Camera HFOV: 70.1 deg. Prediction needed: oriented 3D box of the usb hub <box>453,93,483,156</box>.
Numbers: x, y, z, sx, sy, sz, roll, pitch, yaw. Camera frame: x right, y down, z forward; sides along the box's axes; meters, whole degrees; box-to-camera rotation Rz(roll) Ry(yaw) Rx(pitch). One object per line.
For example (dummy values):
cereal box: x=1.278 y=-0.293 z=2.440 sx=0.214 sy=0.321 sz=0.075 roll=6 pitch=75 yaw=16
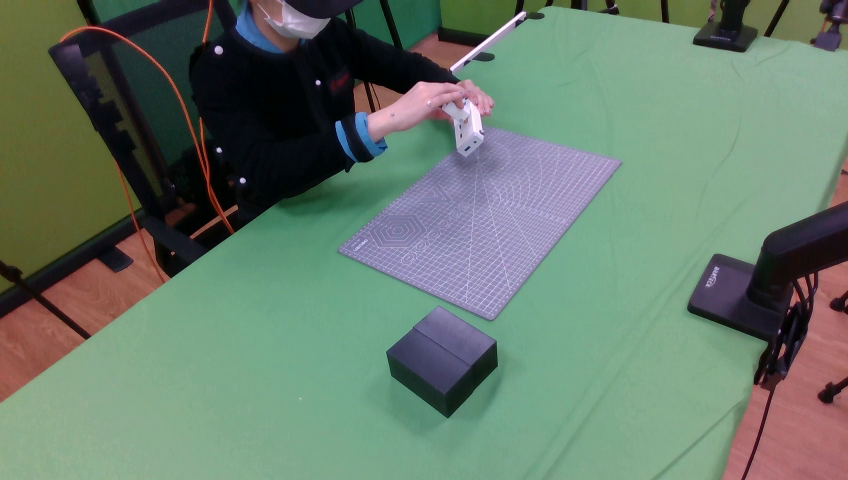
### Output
usb hub: x=0.078 y=-0.210 z=1.088 sx=0.049 sy=0.025 sz=0.124 roll=-38 pitch=37 yaw=32

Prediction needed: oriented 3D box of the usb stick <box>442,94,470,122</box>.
usb stick: x=0.061 y=-0.227 z=1.058 sx=0.027 sy=0.059 sz=0.021 roll=-38 pitch=35 yaw=33
